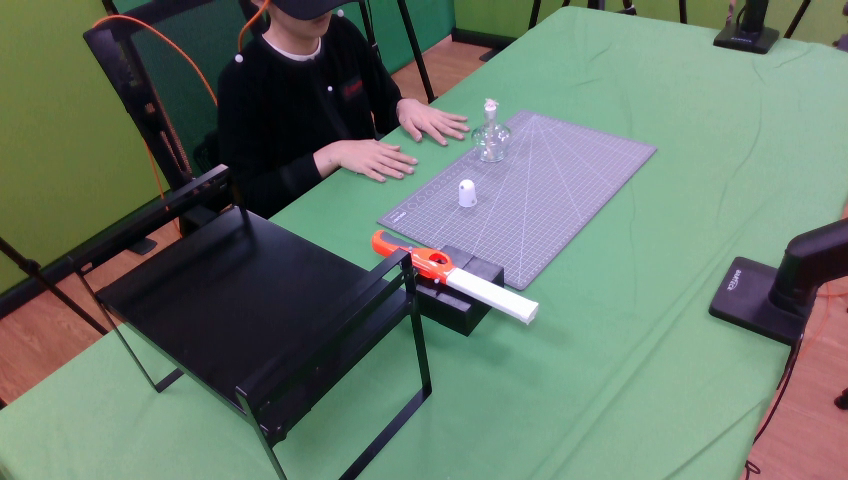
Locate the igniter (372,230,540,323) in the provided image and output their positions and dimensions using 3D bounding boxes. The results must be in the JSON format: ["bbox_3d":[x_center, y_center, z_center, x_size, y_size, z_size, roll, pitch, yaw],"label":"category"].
[{"bbox_3d":[0.032,0.045,0.843,0.274,0.025,0.057,24,47,29],"label":"igniter"}]

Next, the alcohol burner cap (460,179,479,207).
[{"bbox_3d":[0.078,-0.083,1.041,0.034,0.048,0.033,-5,42,5],"label":"alcohol burner cap"}]

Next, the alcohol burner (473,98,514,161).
[{"bbox_3d":[0.127,-0.208,1.123,0.078,0.119,0.077,-5,39,5],"label":"alcohol burner"}]
